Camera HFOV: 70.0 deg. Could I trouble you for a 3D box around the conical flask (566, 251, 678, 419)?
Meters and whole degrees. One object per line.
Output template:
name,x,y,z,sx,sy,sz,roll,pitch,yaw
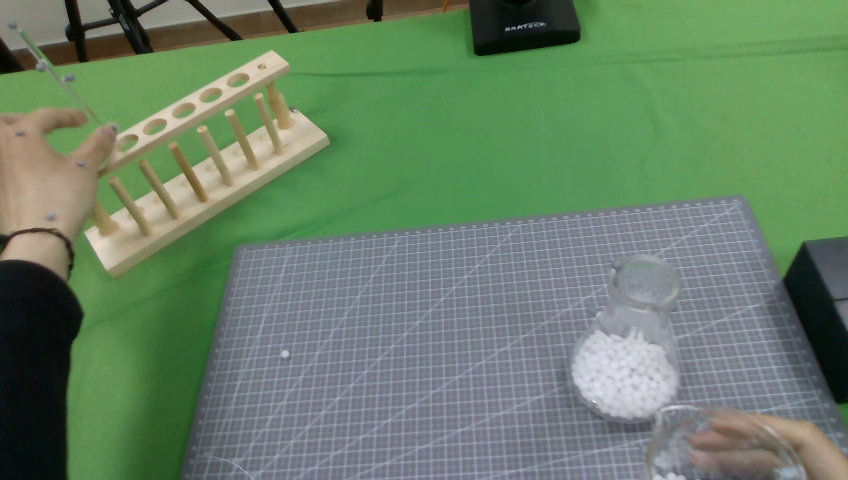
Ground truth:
conical flask,0.130,0.057,0.384,0.075,0.123,0.074,-5,52,7

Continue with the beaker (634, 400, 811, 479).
beaker,0.150,0.141,0.331,0.074,0.101,0.083,-26,52,-11

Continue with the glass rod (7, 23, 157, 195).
glass rod,-0.278,-0.098,0.518,0.008,0.202,0.008,-7,53,10

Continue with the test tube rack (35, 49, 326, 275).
test tube rack,-0.221,-0.079,0.579,0.242,0.086,0.066,-37,54,-18
